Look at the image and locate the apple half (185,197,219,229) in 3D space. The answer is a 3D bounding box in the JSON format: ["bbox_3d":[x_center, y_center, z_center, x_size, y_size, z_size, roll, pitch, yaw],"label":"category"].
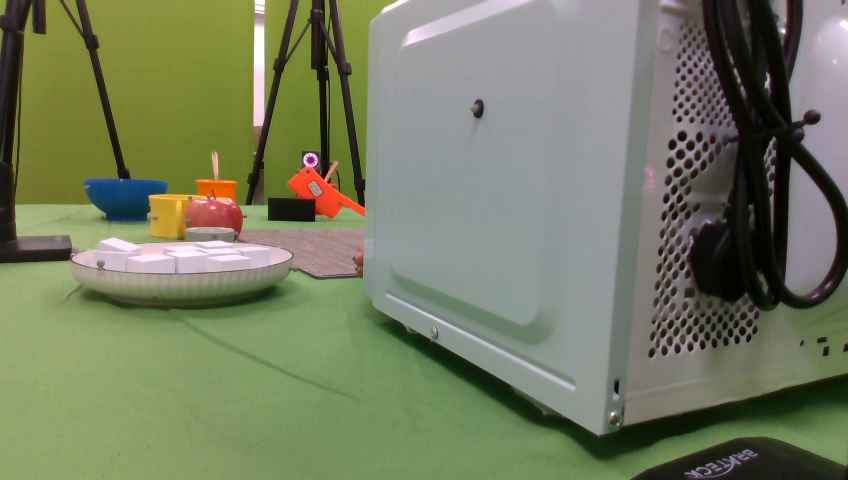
[{"bbox_3d":[-0.338,-0.031,0.927,0.032,0.081,0.081,12,12,31],"label":"apple half"}]

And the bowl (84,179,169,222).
[{"bbox_3d":[-0.584,-0.078,1.193,0.151,0.077,0.151,3,8,0],"label":"bowl"}]

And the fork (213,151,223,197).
[{"bbox_3d":[-0.493,-0.143,1.442,0.028,0.018,0.206,-3,53,-19],"label":"fork"}]

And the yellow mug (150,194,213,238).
[{"bbox_3d":[-0.401,-0.040,1.003,0.100,0.064,0.130,-1,9,-20],"label":"yellow mug"}]

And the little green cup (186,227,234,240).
[{"bbox_3d":[-0.284,0.005,0.805,0.061,0.038,0.061,2,8,0],"label":"little green cup"}]

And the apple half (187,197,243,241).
[{"bbox_3d":[-0.305,-0.026,0.907,0.053,0.074,0.081,13,8,31],"label":"apple half"}]

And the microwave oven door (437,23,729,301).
[{"bbox_3d":[0.181,-0.072,0.620,0.358,0.243,0.039,-2,8,-29],"label":"microwave oven door"}]

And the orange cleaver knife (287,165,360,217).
[{"bbox_3d":[-0.210,-0.092,1.382,0.212,0.077,0.012,34,1,-15],"label":"orange cleaver knife"}]

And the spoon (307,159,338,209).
[{"bbox_3d":[-0.257,-0.147,1.566,0.041,0.022,0.193,1,50,20],"label":"spoon"}]

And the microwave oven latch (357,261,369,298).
[{"bbox_3d":[-0.019,0.033,0.530,0.079,0.029,0.030,0,7,-26],"label":"microwave oven latch"}]

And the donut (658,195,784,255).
[{"bbox_3d":[0.252,-0.012,0.517,0.099,0.048,0.099,5,8,0],"label":"donut"}]

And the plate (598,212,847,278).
[{"bbox_3d":[0.255,0.002,0.519,0.209,0.038,0.209,2,7,0],"label":"plate"}]

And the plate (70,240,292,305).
[{"bbox_3d":[-0.241,0.031,0.618,0.208,0.039,0.207,2,7,0],"label":"plate"}]

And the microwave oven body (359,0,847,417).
[{"bbox_3d":[0.211,-0.047,0.474,0.444,0.260,0.324,-1,7,-28],"label":"microwave oven body"}]
